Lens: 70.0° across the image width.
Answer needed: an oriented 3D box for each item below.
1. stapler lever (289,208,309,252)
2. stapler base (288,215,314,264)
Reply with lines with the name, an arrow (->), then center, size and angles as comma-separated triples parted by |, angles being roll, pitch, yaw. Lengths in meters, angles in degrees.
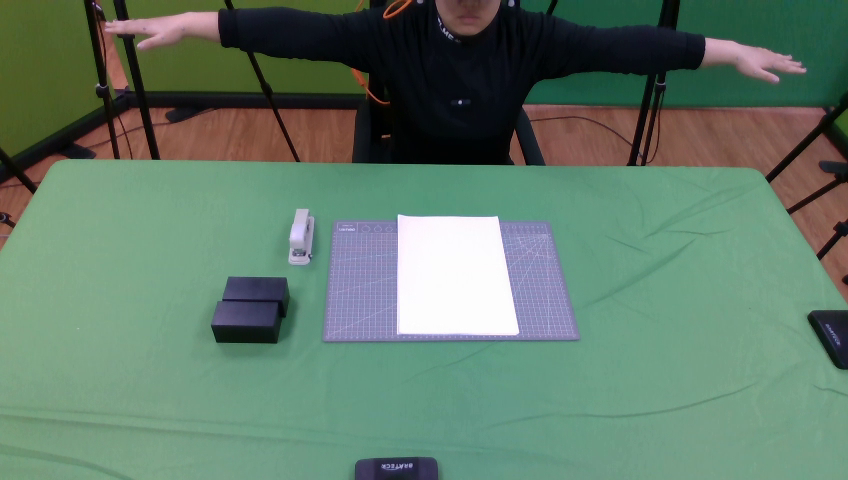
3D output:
stapler lever -> -0.240, -0.026, 1.168 | 0.027, 0.040, 0.117 | 1, 44, -5
stapler base -> -0.241, -0.007, 1.184 | 0.041, 0.024, 0.129 | 1, 44, -6
